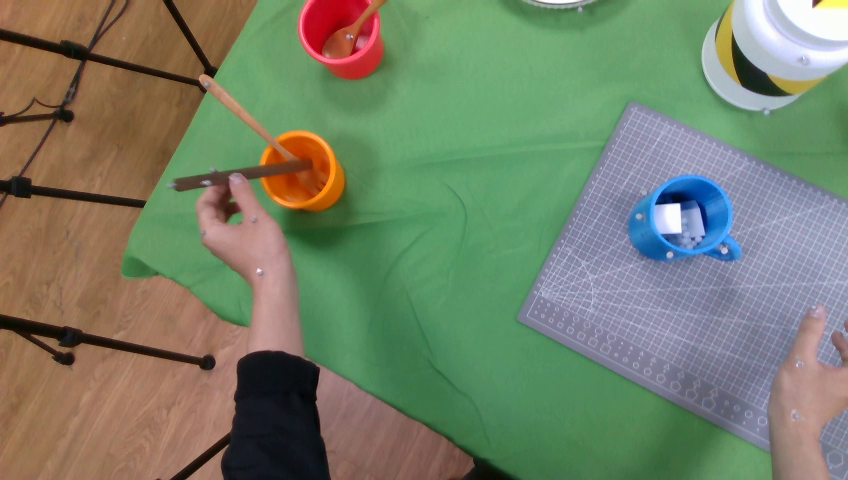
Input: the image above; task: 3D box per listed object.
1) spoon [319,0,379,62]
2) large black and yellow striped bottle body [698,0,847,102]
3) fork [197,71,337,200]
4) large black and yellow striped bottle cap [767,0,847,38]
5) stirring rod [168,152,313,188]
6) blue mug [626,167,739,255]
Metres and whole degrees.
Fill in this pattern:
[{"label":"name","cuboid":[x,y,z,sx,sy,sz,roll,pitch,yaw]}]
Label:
[{"label":"spoon","cuboid":[-0.068,-0.267,0.706,0.193,0.022,0.041,-27,76,48]},{"label":"large black and yellow striped bottle body","cuboid":[0.380,-0.233,0.632,0.130,0.184,0.130,-1,85,7]},{"label":"fork","cuboid":[-0.178,-0.118,0.705,0.028,0.018,0.209,-45,125,1]},{"label":"large black and yellow striped bottle cap","cuboid":[0.371,-0.243,0.549,0.115,0.019,0.115,0,87,6]},{"label":"stirring rod","cuboid":[-0.191,-0.077,0.652,0.006,0.176,0.014,0,104,43]},{"label":"blue mug","cuboid":[0.288,-0.020,0.663,0.116,0.106,0.082,35,90,8]}]
